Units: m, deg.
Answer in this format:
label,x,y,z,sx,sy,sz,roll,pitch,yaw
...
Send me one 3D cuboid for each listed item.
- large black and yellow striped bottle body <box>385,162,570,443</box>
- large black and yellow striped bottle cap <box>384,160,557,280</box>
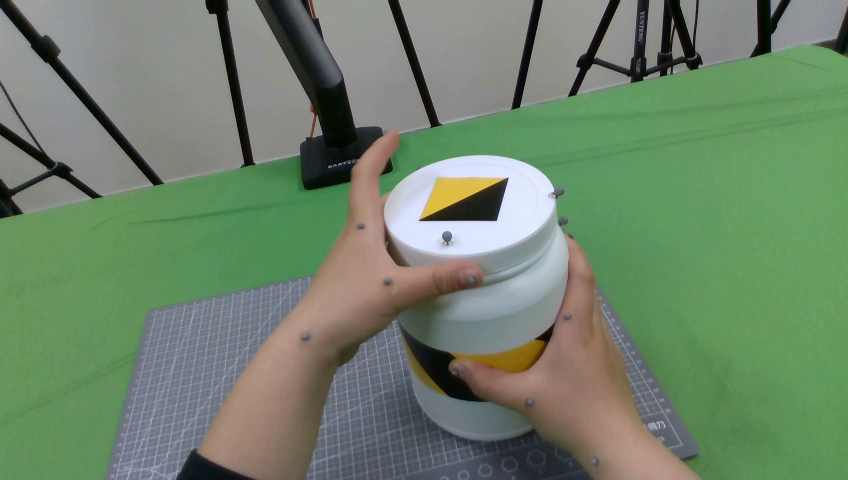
label,x,y,z,sx,sy,sz,roll,pitch,yaw
large black and yellow striped bottle body,0.043,0.048,0.454,0.131,0.186,0.129,-6,38,5
large black and yellow striped bottle cap,0.030,-0.017,0.402,0.115,0.019,0.114,-6,36,5
